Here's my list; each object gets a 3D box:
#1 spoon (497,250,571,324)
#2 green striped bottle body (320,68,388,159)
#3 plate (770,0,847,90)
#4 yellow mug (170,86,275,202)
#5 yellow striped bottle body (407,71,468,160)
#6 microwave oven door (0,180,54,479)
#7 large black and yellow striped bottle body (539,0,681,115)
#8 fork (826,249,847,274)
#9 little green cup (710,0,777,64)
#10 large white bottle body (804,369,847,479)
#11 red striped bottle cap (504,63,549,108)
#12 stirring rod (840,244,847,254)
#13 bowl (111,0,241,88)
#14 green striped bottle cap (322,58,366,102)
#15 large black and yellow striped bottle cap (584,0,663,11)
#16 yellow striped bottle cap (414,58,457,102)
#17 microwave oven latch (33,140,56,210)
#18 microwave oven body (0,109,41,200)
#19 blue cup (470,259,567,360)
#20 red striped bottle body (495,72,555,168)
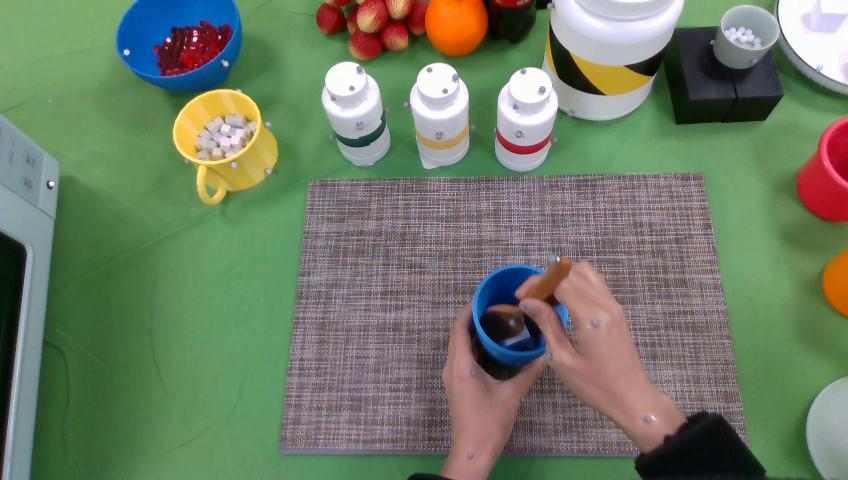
[{"bbox_3d":[0.082,0.046,0.491,0.041,0.194,0.021,26,70,2],"label":"spoon"},{"bbox_3d":[-0.078,-0.146,0.675,0.063,0.120,0.062,-1,67,4],"label":"green striped bottle body"},{"bbox_3d":[0.517,-0.258,0.721,0.209,0.038,0.207,-1,68,4],"label":"plate"},{"bbox_3d":[-0.235,-0.106,0.699,0.100,0.064,0.130,9,69,7],"label":"yellow mug"},{"bbox_3d":[0.016,-0.144,0.667,0.063,0.121,0.062,-2,67,5],"label":"yellow striped bottle body"},{"bbox_3d":[-0.422,0.089,0.519,0.039,0.245,0.353,-10,67,1],"label":"microwave oven door"},{"bbox_3d":[0.198,-0.238,0.658,0.131,0.185,0.130,-2,67,4],"label":"large black and yellow striped bottle body"},{"bbox_3d":[0.469,0.043,0.542,0.028,0.019,0.205,-35,25,-15],"label":"fork"},{"bbox_3d":[0.348,-0.227,0.666,0.061,0.039,0.061,-1,66,3],"label":"little green cup"},{"bbox_3d":[0.413,0.149,0.483,0.130,0.186,0.129,-2,67,4],"label":"large white bottle body"},{"bbox_3d":[0.103,-0.156,0.609,0.044,0.018,0.044,0,66,0],"label":"red striped bottle cap"},{"bbox_3d":[0.441,0.042,0.550,0.014,0.006,0.174,-7,24,1],"label":"stirring rod"},{"bbox_3d":[-0.293,-0.243,0.753,0.151,0.077,0.150,-1,68,3],"label":"bowl"},{"bbox_3d":[-0.083,-0.166,0.627,0.044,0.020,0.044,-1,66,3],"label":"green striped bottle cap"},{"bbox_3d":[0.191,-0.269,0.580,0.115,0.019,0.114,-2,67,4],"label":"large black and yellow striped bottle cap"},{"bbox_3d":[0.012,-0.164,0.619,0.044,0.019,0.044,-1,69,3],"label":"yellow striped bottle cap"},{"bbox_3d":[-0.445,-0.073,0.696,0.030,0.030,0.078,-8,68,1],"label":"microwave oven latch"},{"bbox_3d":[-0.572,0.076,0.541,0.326,0.262,0.438,-10,68,0],"label":"microwave oven body"},{"bbox_3d":[0.086,0.075,0.579,0.092,0.101,0.092,-1,68,3],"label":"blue cup"},{"bbox_3d":[0.109,-0.135,0.657,0.063,0.120,0.062,-3,65,7],"label":"red striped bottle body"}]
